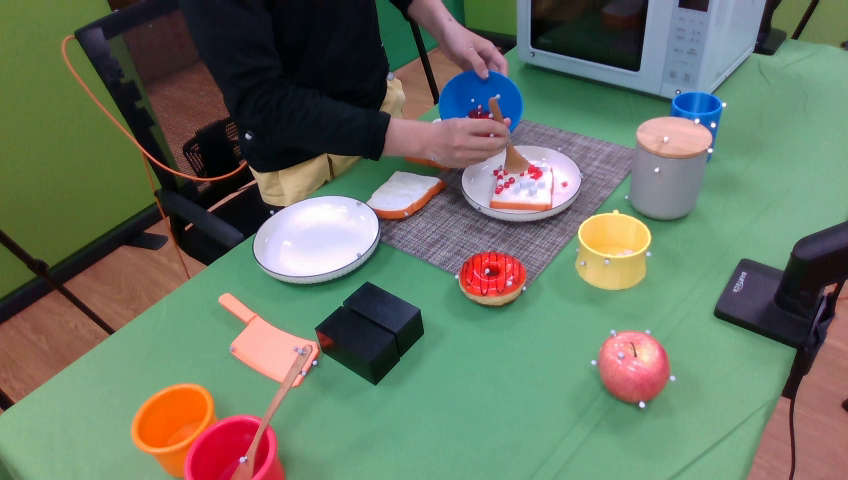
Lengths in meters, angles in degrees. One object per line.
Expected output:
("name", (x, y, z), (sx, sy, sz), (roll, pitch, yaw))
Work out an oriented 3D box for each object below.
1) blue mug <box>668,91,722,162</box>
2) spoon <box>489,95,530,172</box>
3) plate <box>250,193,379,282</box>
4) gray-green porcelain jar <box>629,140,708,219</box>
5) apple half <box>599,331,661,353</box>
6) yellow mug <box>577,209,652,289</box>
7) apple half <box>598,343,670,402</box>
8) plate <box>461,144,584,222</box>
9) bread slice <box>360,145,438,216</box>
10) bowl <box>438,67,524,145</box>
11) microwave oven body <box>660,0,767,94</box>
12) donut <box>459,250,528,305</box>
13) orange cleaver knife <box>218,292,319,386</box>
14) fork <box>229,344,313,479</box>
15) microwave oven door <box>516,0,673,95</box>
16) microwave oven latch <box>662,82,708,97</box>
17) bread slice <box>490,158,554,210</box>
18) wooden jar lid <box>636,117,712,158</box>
("blue mug", (0.474, -0.207, 1.079), (0.082, 0.106, 0.116), (4, 42, 13))
("spoon", (0.125, -0.156, 0.917), (0.041, 0.195, 0.021), (-14, 56, 15))
("plate", (-0.174, 0.000, 0.984), (0.209, 0.038, 0.208), (-3, 40, 3))
("gray-green porcelain jar", (0.383, -0.104, 0.958), (0.106, 0.127, 0.105), (-4, 41, 4))
("apple half", (0.249, 0.134, 0.738), (0.081, 0.081, 0.032), (-1, 46, 7))
("yellow mug", (0.279, 0.004, 0.893), (0.099, 0.064, 0.130), (5, 42, 15))
("apple half", (0.247, 0.161, 0.710), (0.081, 0.075, 0.053), (1, 46, 5))
("plate", (0.167, -0.095, 1.040), (0.207, 0.039, 0.206), (-4, 41, 4))
("bread slice", (-0.053, -0.103, 1.046), (0.106, 0.018, 0.134), (19, 67, 23))
("bowl", (0.100, -0.227, 1.089), (0.151, 0.077, 0.150), (0, 67, 1))
("microwave oven body", (0.473, -0.516, 1.313), (0.438, 0.261, 0.327), (26, 51, 34))
("donut", (0.100, 0.053, 0.872), (0.099, 0.048, 0.098), (-5, 40, 4))
("orange cleaver knife", (-0.235, 0.136, 0.850), (0.209, 0.012, 0.077), (25, 56, 30))
("fork", (-0.173, 0.205, 0.662), (0.028, 0.019, 0.207), (29, 94, 35))
("microwave oven door", (0.344, -0.458, 1.257), (0.353, 0.245, 0.039), (26, 51, 33))
("microwave oven latch", (0.518, -0.298, 1.202), (0.078, 0.029, 0.030), (28, 53, 35))
("bread slice", (0.173, -0.100, 1.047), (0.104, 0.019, 0.131), (4, 43, 12))
("wooden jar lid", (0.377, -0.151, 0.917), (0.108, 0.021, 0.108), (-2, 41, 3))
